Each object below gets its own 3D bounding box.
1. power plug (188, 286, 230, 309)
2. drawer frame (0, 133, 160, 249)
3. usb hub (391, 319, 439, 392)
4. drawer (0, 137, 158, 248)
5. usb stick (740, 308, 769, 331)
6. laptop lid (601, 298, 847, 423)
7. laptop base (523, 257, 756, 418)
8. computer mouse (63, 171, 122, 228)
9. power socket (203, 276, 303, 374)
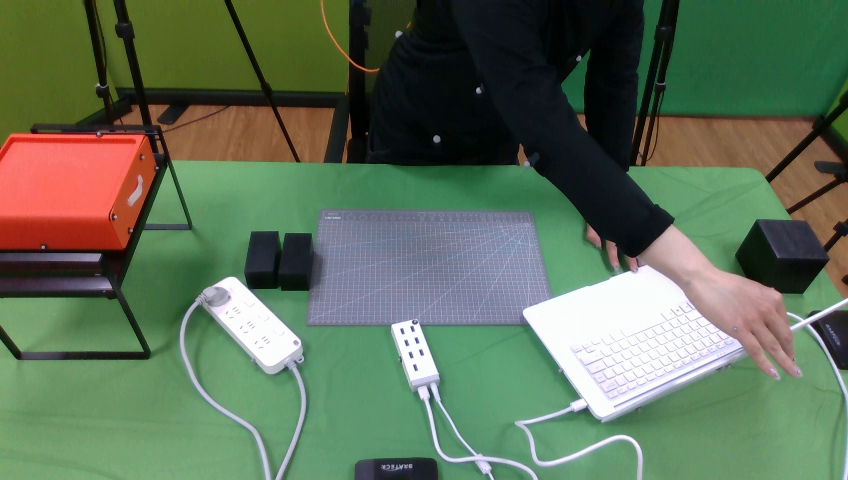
[{"bbox_3d":[-0.370,0.103,1.039,0.072,0.053,0.035,-26,54,-23],"label":"power plug"},{"bbox_3d":[-0.552,-0.078,0.942,0.214,0.083,0.200,-1,47,-4],"label":"drawer frame"},{"bbox_3d":[-0.016,0.191,1.013,0.049,0.025,0.124,-11,48,-15],"label":"usb hub"},{"bbox_3d":[-0.549,-0.079,0.944,0.212,0.073,0.193,1,47,-4],"label":"drawer"},{"bbox_3d":[0.588,0.146,1.087,0.059,0.027,0.021,-22,49,-16],"label":"usb stick"},{"bbox_3d":[0.450,0.181,0.904,0.357,0.242,0.013,-17,66,-20],"label":"laptop lid"},{"bbox_3d":[0.381,0.160,1.078,0.355,0.023,0.234,-17,47,-20],"label":"laptop base"},{"bbox_3d":[-0.522,-0.067,0.955,0.063,0.041,0.116,1,49,-9],"label":"computer mouse"},{"bbox_3d":[-0.296,0.141,1.034,0.225,0.033,0.072,37,55,27],"label":"power socket"}]
